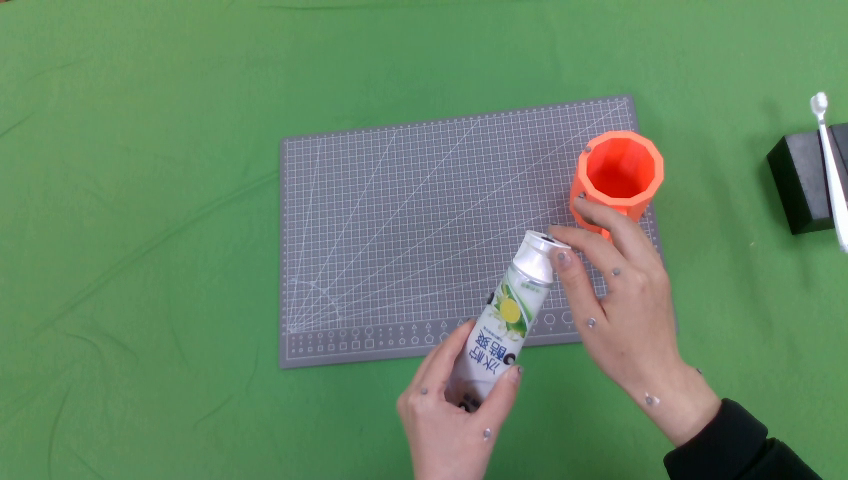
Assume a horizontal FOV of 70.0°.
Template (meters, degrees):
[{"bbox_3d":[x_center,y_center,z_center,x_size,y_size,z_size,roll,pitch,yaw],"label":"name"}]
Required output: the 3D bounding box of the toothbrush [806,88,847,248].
[{"bbox_3d":[0.428,-0.079,0.639,0.014,0.017,0.181,-1,73,4],"label":"toothbrush"}]

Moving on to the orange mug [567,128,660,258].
[{"bbox_3d":[0.204,-0.048,0.663,0.083,0.101,0.125,2,69,8],"label":"orange mug"}]

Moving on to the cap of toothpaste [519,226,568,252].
[{"bbox_3d":[0.087,0.000,0.443,0.037,0.037,0.011,20,99,13],"label":"cap of toothpaste"}]

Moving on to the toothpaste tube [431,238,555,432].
[{"bbox_3d":[0.055,0.070,0.470,0.054,0.035,0.165,35,111,31],"label":"toothpaste tube"}]
